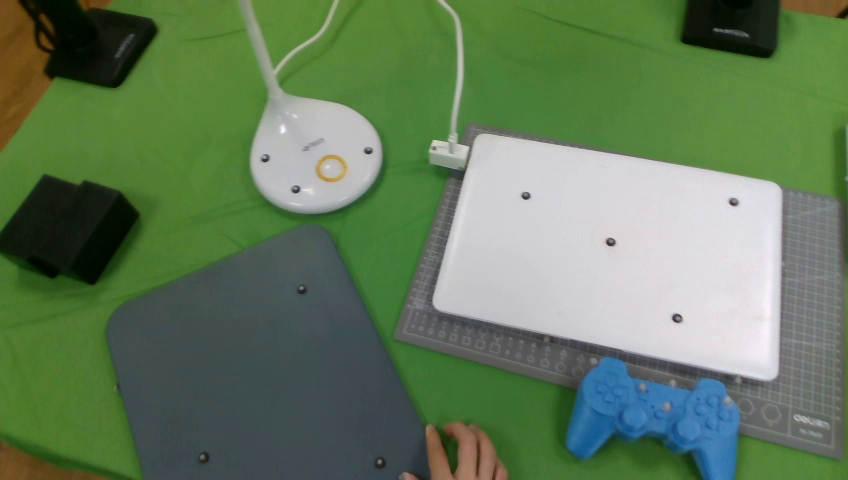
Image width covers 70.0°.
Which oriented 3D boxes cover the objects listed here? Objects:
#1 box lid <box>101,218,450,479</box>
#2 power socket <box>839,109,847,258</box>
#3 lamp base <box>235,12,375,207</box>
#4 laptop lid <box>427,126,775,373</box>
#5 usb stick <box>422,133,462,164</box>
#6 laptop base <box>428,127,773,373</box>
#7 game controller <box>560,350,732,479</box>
[{"bbox_3d":[-0.160,0.163,0.615,0.263,0.015,0.368,-26,66,-10],"label":"box lid"},{"bbox_3d":[0.516,-0.064,0.685,0.072,0.033,0.225,13,65,7],"label":"power socket"},{"bbox_3d":[-0.152,-0.152,0.674,0.178,0.182,0.160,40,71,22],"label":"lamp base"},{"bbox_3d":[0.198,-0.003,0.662,0.356,0.013,0.240,12,67,9],"label":"laptop lid"},{"bbox_3d":[0.028,-0.107,0.720,0.059,0.027,0.021,15,60,6],"label":"usb stick"},{"bbox_3d":[0.199,0.001,0.674,0.354,0.023,0.234,11,68,8],"label":"laptop base"},{"bbox_3d":[0.215,0.162,0.577,0.155,0.052,0.096,12,62,8],"label":"game controller"}]
